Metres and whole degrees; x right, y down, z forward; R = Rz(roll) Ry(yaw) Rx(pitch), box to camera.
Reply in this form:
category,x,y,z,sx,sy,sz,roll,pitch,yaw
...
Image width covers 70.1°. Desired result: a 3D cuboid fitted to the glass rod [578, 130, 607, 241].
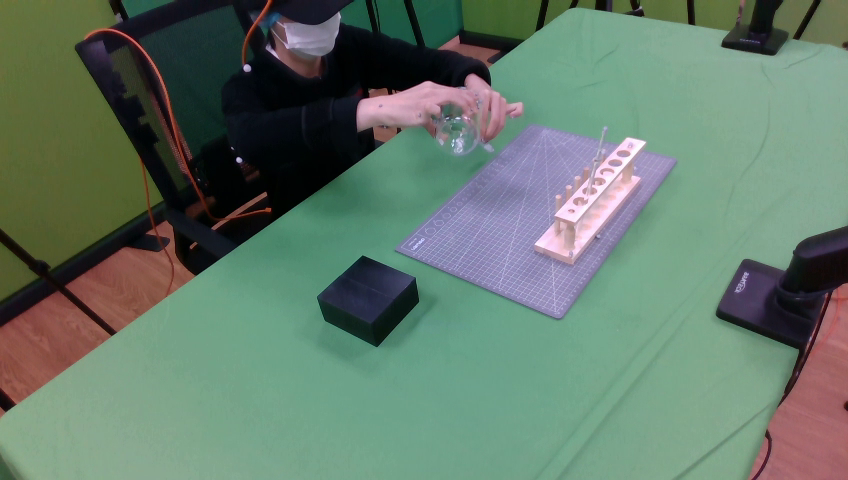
category,x,y,z,sx,sy,sz,roll,pitch,yaw
glass rod,0.240,-0.071,0.866,0.008,0.200,0.008,0,44,1

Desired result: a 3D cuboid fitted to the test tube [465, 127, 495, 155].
category,x,y,z,sx,sy,sz,roll,pitch,yaw
test tube,0.101,-0.173,1.071,0.017,0.017,0.151,11,-1,21

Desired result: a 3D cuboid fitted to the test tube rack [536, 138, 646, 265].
category,x,y,z,sx,sy,sz,roll,pitch,yaw
test tube rack,0.268,-0.071,0.964,0.066,0.085,0.243,23,49,32

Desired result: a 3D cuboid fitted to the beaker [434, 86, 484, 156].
category,x,y,z,sx,sy,sz,roll,pitch,yaw
beaker,0.056,-0.181,0.946,0.074,0.084,0.100,-13,35,19
